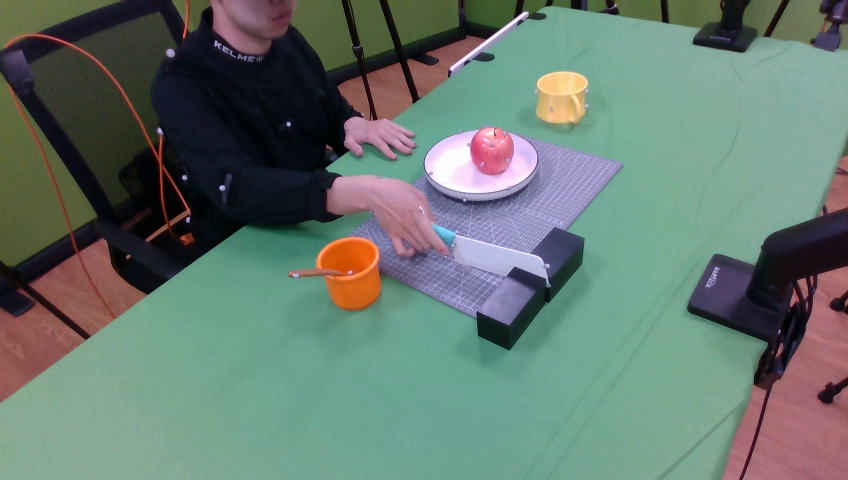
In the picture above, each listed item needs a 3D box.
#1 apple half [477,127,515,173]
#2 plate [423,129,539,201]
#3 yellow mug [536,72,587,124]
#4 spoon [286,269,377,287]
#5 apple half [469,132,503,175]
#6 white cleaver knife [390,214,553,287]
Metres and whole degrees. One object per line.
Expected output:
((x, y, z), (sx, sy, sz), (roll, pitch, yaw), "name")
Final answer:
((0.132, -0.164, 1.085), (0.053, 0.075, 0.080), (-28, 41, -28), "apple half")
((0.103, -0.132, 1.092), (0.209, 0.038, 0.208), (-4, 40, 4), "plate")
((0.284, -0.281, 1.222), (0.100, 0.064, 0.130), (-16, 42, -10), "yellow mug")
((-0.125, 0.050, 0.831), (0.041, 0.195, 0.021), (20, 92, 28), "spoon")
((0.102, -0.146, 1.067), (0.033, 0.081, 0.080), (-29, 44, -29), "apple half")
((0.059, 0.016, 0.895), (0.284, 0.066, 0.021), (18, 48, 36), "white cleaver knife")
